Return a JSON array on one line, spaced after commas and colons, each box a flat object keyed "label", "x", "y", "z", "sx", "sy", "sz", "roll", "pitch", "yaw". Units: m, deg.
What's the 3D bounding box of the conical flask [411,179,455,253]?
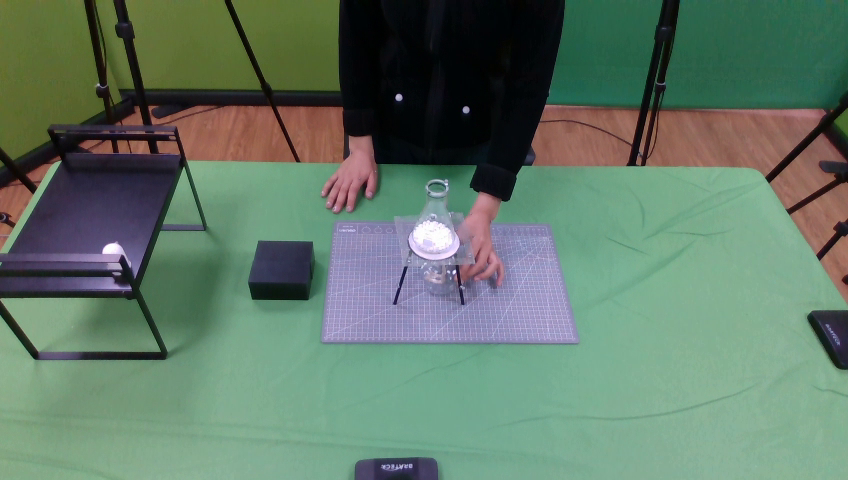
[{"label": "conical flask", "x": 0.017, "y": -0.042, "z": 0.985, "sx": 0.075, "sy": 0.122, "sz": 0.075, "roll": 2, "pitch": 47, "yaw": -1}]

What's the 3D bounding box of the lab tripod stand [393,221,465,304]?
[{"label": "lab tripod stand", "x": 0.010, "y": 0.046, "z": 1.074, "sx": 0.148, "sy": 0.132, "sz": 0.147, "roll": 2, "pitch": 48, "yaw": -2}]

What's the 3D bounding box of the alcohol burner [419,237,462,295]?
[{"label": "alcohol burner", "x": 0.030, "y": 0.042, "z": 1.091, "sx": 0.078, "sy": 0.120, "sz": 0.077, "roll": 1, "pitch": 44, "yaw": -1}]

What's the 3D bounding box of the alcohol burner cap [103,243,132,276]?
[{"label": "alcohol burner cap", "x": -0.446, "y": 0.025, "z": 0.875, "sx": 0.034, "sy": 0.048, "sz": 0.033, "roll": 3, "pitch": 46, "yaw": -3}]

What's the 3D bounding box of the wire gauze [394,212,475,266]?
[{"label": "wire gauze", "x": 0.015, "y": -0.001, "z": 1.029, "sx": 0.125, "sy": 0.011, "sz": 0.120, "roll": -5, "pitch": 45, "yaw": -5}]
